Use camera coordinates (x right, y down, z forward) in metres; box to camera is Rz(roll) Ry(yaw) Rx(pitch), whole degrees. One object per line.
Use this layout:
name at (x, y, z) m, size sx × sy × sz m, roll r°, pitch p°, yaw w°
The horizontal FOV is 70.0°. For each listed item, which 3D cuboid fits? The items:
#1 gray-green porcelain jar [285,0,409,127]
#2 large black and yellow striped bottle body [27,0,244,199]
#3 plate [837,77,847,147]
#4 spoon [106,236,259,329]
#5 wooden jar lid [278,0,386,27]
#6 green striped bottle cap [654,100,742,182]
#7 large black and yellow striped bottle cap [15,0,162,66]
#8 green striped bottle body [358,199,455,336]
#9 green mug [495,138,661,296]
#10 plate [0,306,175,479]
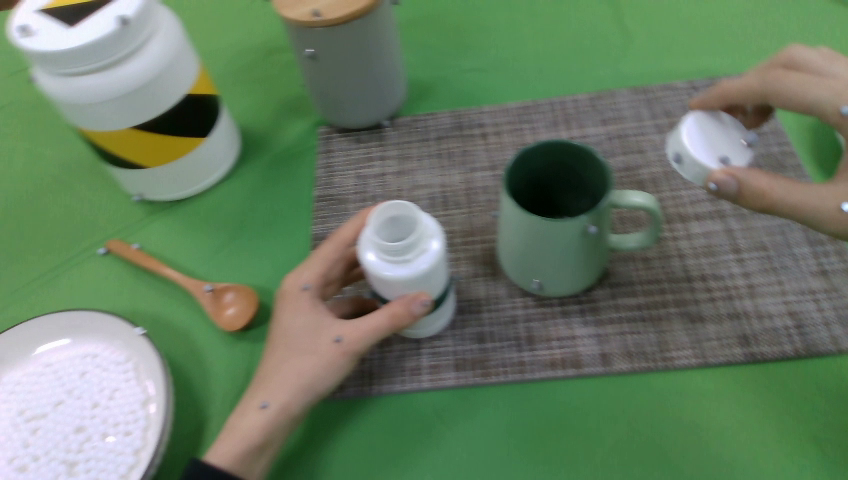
gray-green porcelain jar at (-0.071, -0.186, 0.603) m, size 0.106 × 0.128 × 0.105 m, roll -4°, pitch 52°, yaw 5°
large black and yellow striped bottle body at (-0.262, -0.140, 0.565) m, size 0.130 × 0.186 × 0.129 m, roll -3°, pitch 56°, yaw 6°
plate at (0.470, -0.093, 0.525) m, size 0.207 × 0.039 × 0.205 m, roll -4°, pitch 56°, yaw 6°
spoon at (-0.221, 0.030, 0.543) m, size 0.192 × 0.022 × 0.041 m, roll 23°, pitch 80°, yaw 20°
wooden jar lid at (-0.078, -0.225, 0.554) m, size 0.108 × 0.021 × 0.107 m, roll -5°, pitch 54°, yaw 8°
green striped bottle cap at (0.154, -0.056, 0.341) m, size 0.044 × 0.020 × 0.044 m, roll 3°, pitch 66°, yaw -7°
large black and yellow striped bottle cap at (-0.273, -0.186, 0.495) m, size 0.115 × 0.019 × 0.114 m, roll -3°, pitch 54°, yaw 5°
green striped bottle body at (-0.012, 0.020, 0.457) m, size 0.063 × 0.120 × 0.062 m, roll -4°, pitch 56°, yaw 6°
green mug at (0.119, -0.015, 0.473) m, size 0.125 × 0.106 × 0.092 m, roll 3°, pitch 56°, yaw 8°
plate at (-0.288, 0.149, 0.461) m, size 0.209 × 0.038 × 0.207 m, roll -3°, pitch 56°, yaw 5°
